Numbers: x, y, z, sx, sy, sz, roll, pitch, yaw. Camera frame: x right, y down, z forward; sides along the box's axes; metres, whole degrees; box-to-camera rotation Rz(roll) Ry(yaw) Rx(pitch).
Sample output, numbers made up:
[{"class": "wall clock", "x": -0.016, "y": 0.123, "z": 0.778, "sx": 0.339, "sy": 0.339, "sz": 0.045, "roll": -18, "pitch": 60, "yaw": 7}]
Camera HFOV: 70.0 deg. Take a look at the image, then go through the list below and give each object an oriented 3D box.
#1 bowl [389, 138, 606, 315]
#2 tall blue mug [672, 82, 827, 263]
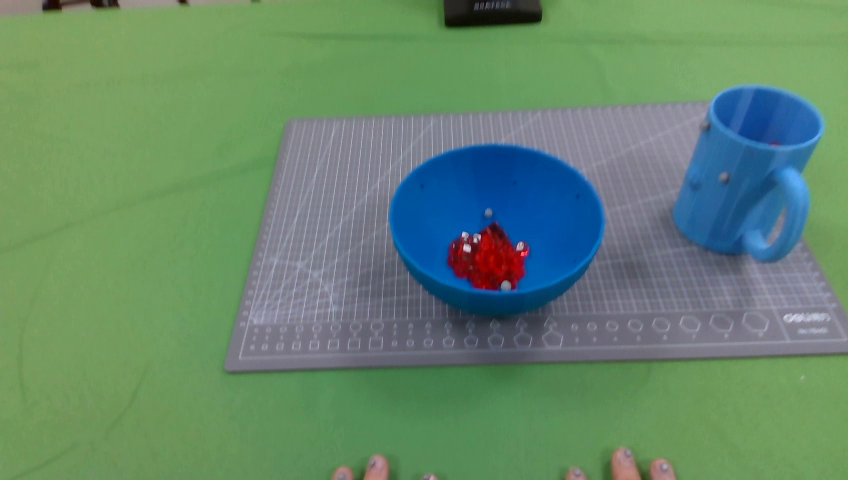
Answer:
[{"class": "bowl", "x": 0.052, "y": 0.003, "z": 0.449, "sx": 0.151, "sy": 0.077, "sz": 0.150, "roll": -1, "pitch": 48, "yaw": 2}, {"class": "tall blue mug", "x": 0.252, "y": -0.044, "z": 0.457, "sx": 0.078, "sy": 0.109, "sz": 0.106, "roll": -27, "pitch": 52, "yaw": -20}]
